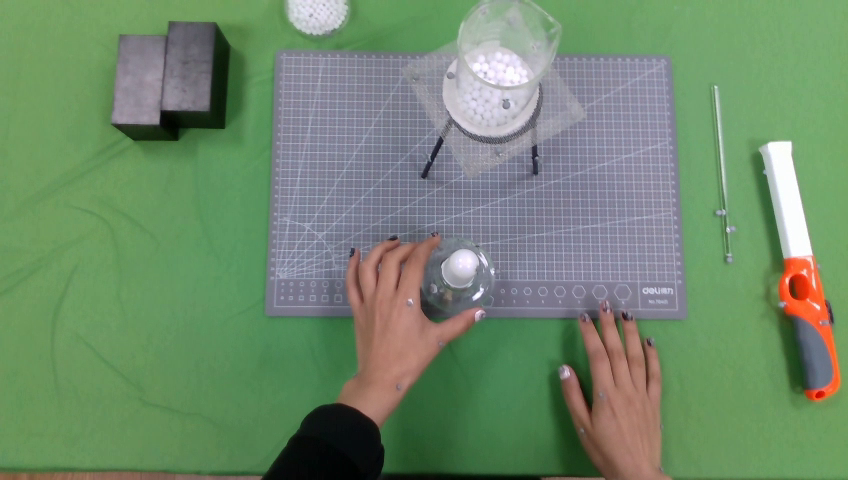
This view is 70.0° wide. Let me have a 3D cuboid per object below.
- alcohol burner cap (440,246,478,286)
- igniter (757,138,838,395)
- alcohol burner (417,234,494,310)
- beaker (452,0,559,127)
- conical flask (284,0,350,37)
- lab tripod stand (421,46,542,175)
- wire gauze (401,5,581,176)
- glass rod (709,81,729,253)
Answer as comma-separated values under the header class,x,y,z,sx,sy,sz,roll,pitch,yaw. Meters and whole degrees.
class,x,y,z,sx,sy,sz,roll,pitch,yaw
alcohol burner cap,0.034,0.022,0.562,0.034,0.048,0.033,2,74,-8
igniter,0.401,0.025,0.651,0.057,0.025,0.275,-4,81,-12
alcohol burner,0.032,0.029,0.597,0.078,0.119,0.077,1,79,-2
beaker,0.062,-0.142,0.499,0.084,0.100,0.074,-20,83,-4
conical flask,-0.122,-0.276,0.640,0.075,0.122,0.075,0,80,-1
lab tripod stand,0.060,-0.120,0.611,0.148,0.132,0.148,0,83,-1
wire gauze,0.061,-0.135,0.547,0.125,0.011,0.121,-29,86,-6
glass rod,0.330,-0.084,0.677,0.008,0.008,0.199,0,81,-1
